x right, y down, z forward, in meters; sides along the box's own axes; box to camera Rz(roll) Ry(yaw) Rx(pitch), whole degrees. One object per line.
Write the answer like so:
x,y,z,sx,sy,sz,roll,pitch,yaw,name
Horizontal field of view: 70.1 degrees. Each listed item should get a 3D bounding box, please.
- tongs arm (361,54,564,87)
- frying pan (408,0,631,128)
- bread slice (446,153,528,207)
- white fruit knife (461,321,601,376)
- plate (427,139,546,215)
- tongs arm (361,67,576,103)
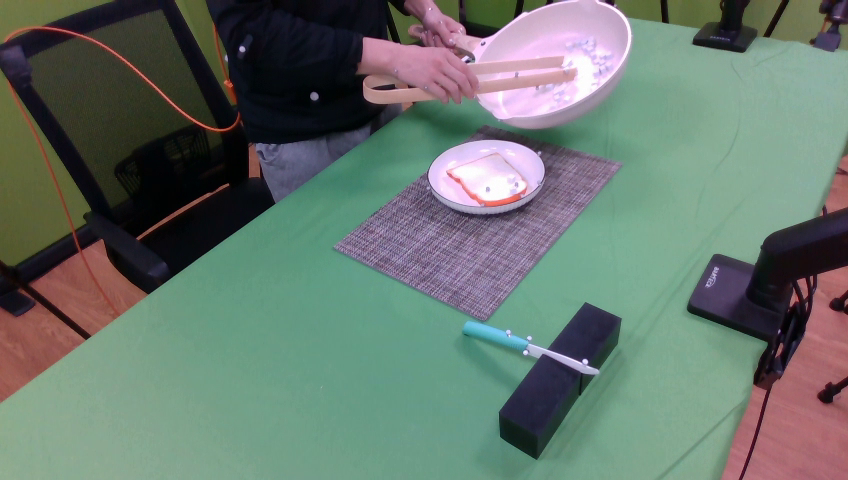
0.075,-0.303,1.085,0.389,0.028,0.028,-10,53,-13,tongs arm
0.155,-0.356,1.159,0.484,0.103,0.307,28,73,31,frying pan
0.118,-0.104,1.057,0.107,0.018,0.133,-24,41,-17,bread slice
0.125,0.133,0.751,0.205,0.027,0.016,12,43,41,white fruit knife
0.109,-0.107,1.058,0.207,0.039,0.206,-4,40,4,plate
0.083,-0.279,1.063,0.386,0.026,0.050,-12,50,-14,tongs arm
